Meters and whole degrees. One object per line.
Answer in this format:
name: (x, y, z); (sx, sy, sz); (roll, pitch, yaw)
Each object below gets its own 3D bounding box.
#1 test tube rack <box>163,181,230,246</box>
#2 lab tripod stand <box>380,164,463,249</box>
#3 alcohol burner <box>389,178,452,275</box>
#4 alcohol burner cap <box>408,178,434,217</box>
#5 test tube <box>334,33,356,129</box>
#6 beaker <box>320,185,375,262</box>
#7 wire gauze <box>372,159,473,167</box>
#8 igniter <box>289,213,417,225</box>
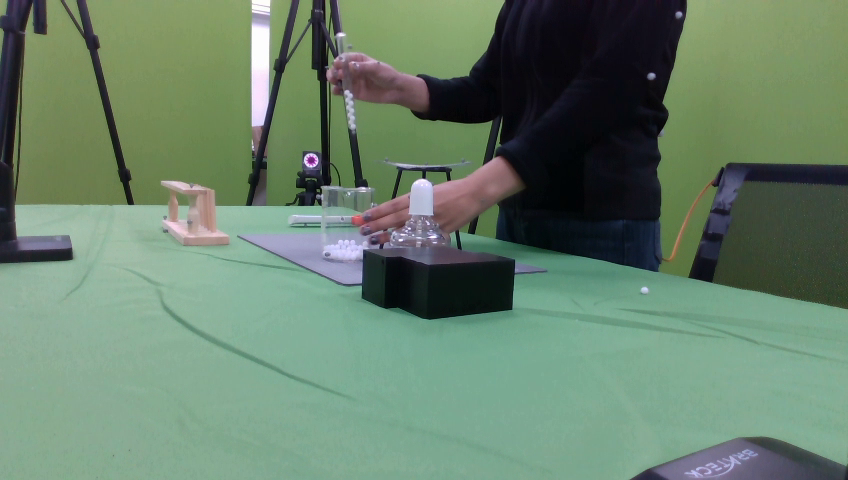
test tube rack: (-0.387, -0.050, 1.015); (0.067, 0.085, 0.241); (-2, 9, -30)
lab tripod stand: (-0.004, -0.055, 0.967); (0.148, 0.131, 0.148); (2, 9, 0)
alcohol burner: (-0.004, -0.017, 0.748); (0.078, 0.119, 0.078); (1, 9, 0)
alcohol burner cap: (-0.003, -0.053, 0.746); (0.034, 0.048, 0.034); (3, 3, 0)
test tube: (-0.126, -0.254, 0.970); (0.017, 0.150, 0.017); (-6, 9, 1)
beaker: (-0.105, -0.024, 0.826); (0.074, 0.100, 0.084); (2, 7, -7)
wire gauze: (-0.004, -0.122, 0.958); (0.122, 0.011, 0.124); (-4, 9, -33)
igniter: (-0.144, -0.044, 1.275); (0.278, 0.025, 0.057); (-1, -2, -27)
